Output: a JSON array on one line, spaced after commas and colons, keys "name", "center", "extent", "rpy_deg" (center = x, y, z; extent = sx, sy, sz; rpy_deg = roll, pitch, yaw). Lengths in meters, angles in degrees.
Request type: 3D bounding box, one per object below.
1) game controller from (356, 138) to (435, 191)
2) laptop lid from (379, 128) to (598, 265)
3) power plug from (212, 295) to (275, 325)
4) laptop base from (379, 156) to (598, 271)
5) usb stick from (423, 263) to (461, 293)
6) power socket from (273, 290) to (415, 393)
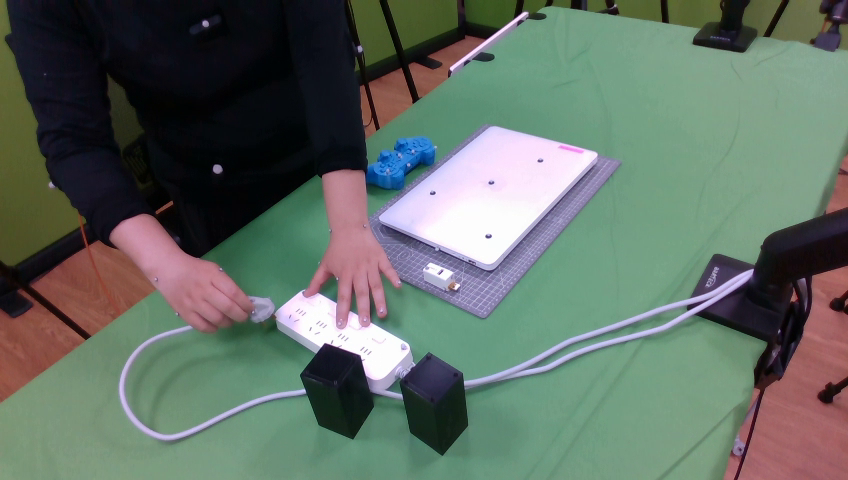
[{"name": "game controller", "center": [-0.049, -0.150, 1.136], "extent": [0.096, 0.052, 0.155], "rpy_deg": [27, 51, 28]}, {"name": "laptop lid", "center": [0.117, -0.095, 1.048], "extent": [0.239, 0.013, 0.358], "rpy_deg": [23, 49, 34]}, {"name": "power plug", "center": [-0.237, 0.097, 0.813], "extent": [0.072, 0.053, 0.035], "rpy_deg": [-12, 42, 9]}, {"name": "laptop base", "center": [0.120, -0.085, 1.054], "extent": [0.233, 0.023, 0.355], "rpy_deg": [21, 48, 34]}, {"name": "usb stick", "center": [0.028, 0.058, 0.889], "extent": [0.059, 0.027, 0.021], "rpy_deg": [25, 47, 29]}, {"name": "power socket", "center": [-0.115, 0.133, 0.820], "extent": [0.225, 0.033, 0.072], "rpy_deg": [24, 47, 32]}]
